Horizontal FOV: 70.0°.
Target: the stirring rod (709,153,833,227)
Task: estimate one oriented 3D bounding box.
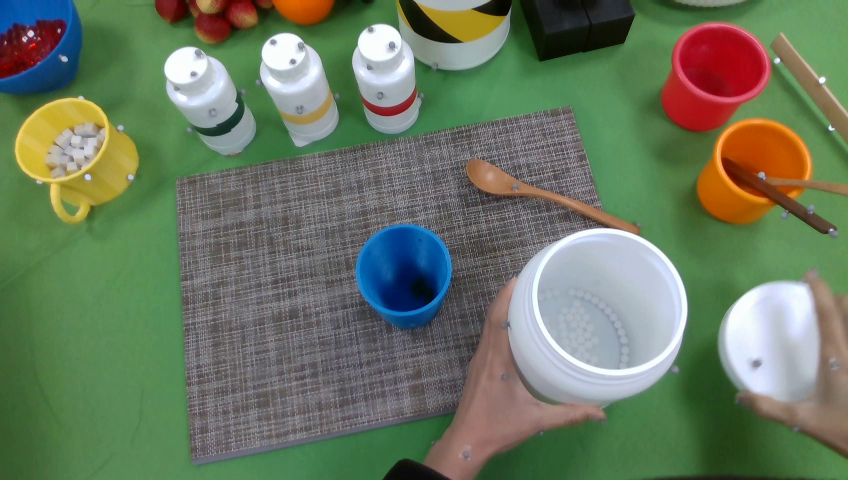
[{"bbox_3d":[0.321,-0.052,0.573,0.014,0.006,0.174,-8,28,-3],"label":"stirring rod"}]

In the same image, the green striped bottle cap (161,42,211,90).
[{"bbox_3d":[-0.232,-0.169,0.590,0.044,0.020,0.044,-1,70,2],"label":"green striped bottle cap"}]

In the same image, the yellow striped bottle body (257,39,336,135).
[{"bbox_3d":[-0.135,-0.167,0.640,0.063,0.121,0.062,-1,70,3],"label":"yellow striped bottle body"}]

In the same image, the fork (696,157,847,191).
[{"bbox_3d":[0.351,-0.056,0.566,0.028,0.019,0.205,-51,32,-11],"label":"fork"}]

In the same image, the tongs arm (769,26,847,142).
[{"bbox_3d":[0.491,-0.078,0.627,0.051,0.027,0.382,-23,73,-7],"label":"tongs arm"}]

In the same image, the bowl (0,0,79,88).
[{"bbox_3d":[-0.462,-0.230,0.697,0.151,0.077,0.150,0,71,2],"label":"bowl"}]

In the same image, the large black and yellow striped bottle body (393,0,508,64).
[{"bbox_3d":[0.027,-0.292,0.642,0.131,0.185,0.130,-1,71,3],"label":"large black and yellow striped bottle body"}]

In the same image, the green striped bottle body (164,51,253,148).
[{"bbox_3d":[-0.229,-0.152,0.639,0.063,0.120,0.063,-1,70,2],"label":"green striped bottle body"}]

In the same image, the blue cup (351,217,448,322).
[{"bbox_3d":[-0.020,0.037,0.572,0.092,0.101,0.092,0,70,1],"label":"blue cup"}]

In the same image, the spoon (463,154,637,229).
[{"bbox_3d":[0.131,-0.049,0.636,0.193,0.022,0.041,20,48,8],"label":"spoon"}]

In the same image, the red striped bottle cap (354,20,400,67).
[{"bbox_3d":[-0.046,-0.192,0.589,0.044,0.018,0.044,1,69,-1],"label":"red striped bottle cap"}]

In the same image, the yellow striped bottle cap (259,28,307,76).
[{"bbox_3d":[-0.138,-0.184,0.591,0.044,0.019,0.044,0,72,1],"label":"yellow striped bottle cap"}]

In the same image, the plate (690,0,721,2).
[{"bbox_3d":[0.331,-0.371,0.733,0.209,0.038,0.208,-1,72,2],"label":"plate"}]

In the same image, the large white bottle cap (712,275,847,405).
[{"bbox_3d":[0.314,0.085,0.529,0.115,0.018,0.114,-3,66,7],"label":"large white bottle cap"}]

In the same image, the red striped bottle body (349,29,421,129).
[{"bbox_3d":[-0.041,-0.174,0.639,0.063,0.120,0.062,-2,69,7],"label":"red striped bottle body"}]

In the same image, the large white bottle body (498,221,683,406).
[{"bbox_3d":[0.133,0.067,0.510,0.130,0.186,0.129,-1,70,3],"label":"large white bottle body"}]

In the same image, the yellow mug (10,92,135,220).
[{"bbox_3d":[-0.377,-0.085,0.651,0.100,0.064,0.130,-1,72,1],"label":"yellow mug"}]
